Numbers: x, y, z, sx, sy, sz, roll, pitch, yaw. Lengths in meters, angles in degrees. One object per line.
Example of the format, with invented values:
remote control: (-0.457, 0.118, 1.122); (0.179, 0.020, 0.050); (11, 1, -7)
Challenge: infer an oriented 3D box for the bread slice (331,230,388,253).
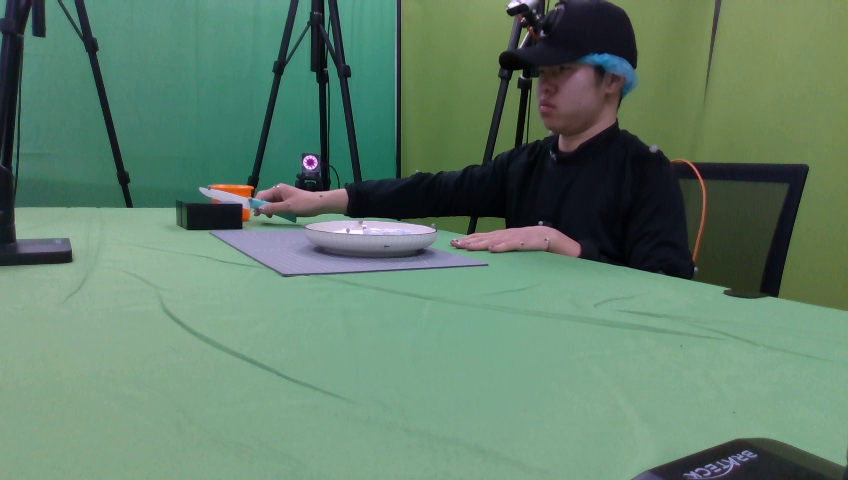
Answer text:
bread slice: (-0.088, 0.000, 0.947); (0.105, 0.019, 0.131); (-4, 11, -45)

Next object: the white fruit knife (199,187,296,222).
white fruit knife: (-0.352, -0.075, 1.226); (0.208, 0.027, 0.016); (16, -3, -37)

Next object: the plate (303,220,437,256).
plate: (-0.084, -0.003, 0.951); (0.209, 0.038, 0.209); (3, 7, 0)
